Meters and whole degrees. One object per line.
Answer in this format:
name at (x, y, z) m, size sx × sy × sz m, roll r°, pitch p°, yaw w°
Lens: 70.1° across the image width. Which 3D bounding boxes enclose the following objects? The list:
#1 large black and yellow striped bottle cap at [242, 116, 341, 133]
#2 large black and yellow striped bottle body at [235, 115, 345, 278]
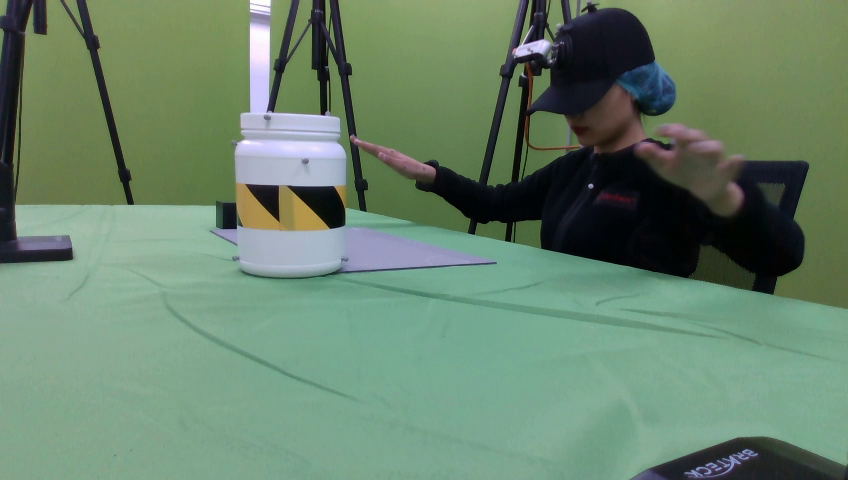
large black and yellow striped bottle cap at (-0.157, -0.137, 0.718) m, size 0.115 × 0.019 × 0.115 m, roll 1°, pitch 10°, yaw 0°
large black and yellow striped bottle body at (-0.160, -0.055, 0.732) m, size 0.131 × 0.184 × 0.130 m, roll 2°, pitch 9°, yaw 0°
